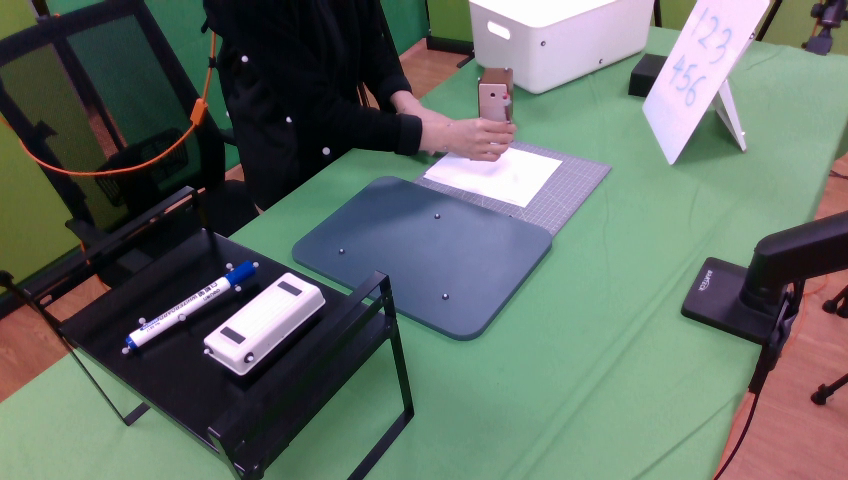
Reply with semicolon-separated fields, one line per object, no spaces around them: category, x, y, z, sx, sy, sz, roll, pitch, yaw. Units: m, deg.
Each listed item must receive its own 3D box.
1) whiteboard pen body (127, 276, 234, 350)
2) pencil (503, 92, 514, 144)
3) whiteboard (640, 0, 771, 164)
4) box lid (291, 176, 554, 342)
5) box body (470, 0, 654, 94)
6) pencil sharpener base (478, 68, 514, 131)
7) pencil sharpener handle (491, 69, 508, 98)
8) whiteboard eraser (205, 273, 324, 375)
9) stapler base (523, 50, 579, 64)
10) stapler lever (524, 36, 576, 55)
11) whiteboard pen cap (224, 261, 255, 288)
whiteboard pen body;-0.251;0.071;0.649;0.141;0.017;0.017;-36;48;-26
pencil;0.145;-0.201;1.023;0.012;0.195;0.012;-3;75;10
whiteboard;0.543;-0.299;1.076;0.144;0.305;0.216;12;40;-7
box lid;-0.005;0.011;0.972;0.368;0.015;0.264;21;49;30
box body;0.319;-0.498;1.405;0.365;0.161;0.252;-26;43;-21
pencil sharpener base;0.148;-0.286;1.225;0.061;0.107;0.076;5;41;15
pencil sharpener handle;0.155;-0.329;1.254;0.036;0.068;0.030;17;43;3
whiteboard eraser;-0.157;0.084;0.605;0.055;0.042;0.113;24;49;30
stapler base;0.301;-0.436;1.434;0.130;0.024;0.041;5;40;17
stapler lever;0.296;-0.456;1.418;0.117;0.040;0.027;4;40;17
whiteboard pen cap;-0.207;0.039;0.677;0.033;0.018;0.018;-36;47;-18
